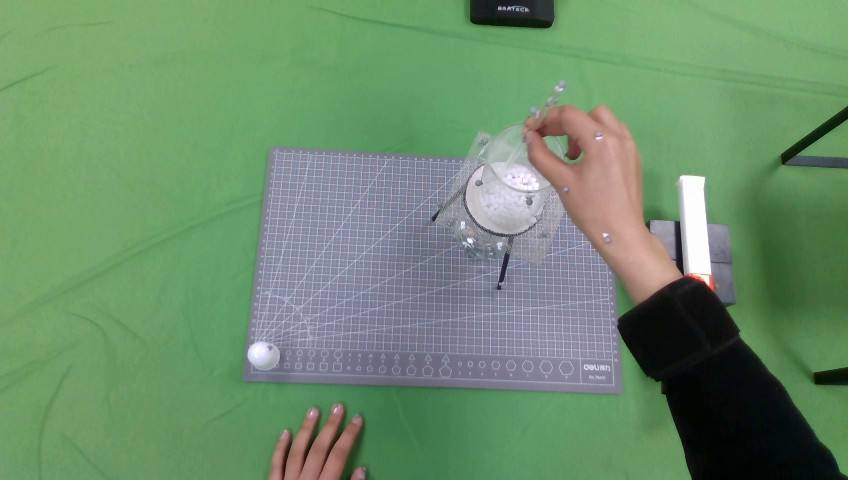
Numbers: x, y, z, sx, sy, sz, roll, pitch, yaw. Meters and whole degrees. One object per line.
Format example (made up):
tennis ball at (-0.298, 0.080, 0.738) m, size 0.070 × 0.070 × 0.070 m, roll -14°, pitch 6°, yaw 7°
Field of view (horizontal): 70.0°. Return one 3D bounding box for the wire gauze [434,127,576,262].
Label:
wire gauze at (0.090, -0.050, 0.649) m, size 0.121 × 0.011 × 0.124 m, roll 25°, pitch 69°, yaw 1°

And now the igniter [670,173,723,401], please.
igniter at (0.319, 0.050, 0.716) m, size 0.057 × 0.025 × 0.275 m, roll 5°, pitch 72°, yaw 0°

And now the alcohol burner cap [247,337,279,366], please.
alcohol burner cap at (-0.186, 0.125, 0.692) m, size 0.034 × 0.048 × 0.033 m, roll 2°, pitch 73°, yaw -5°

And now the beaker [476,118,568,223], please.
beaker at (0.089, -0.064, 0.603) m, size 0.084 × 0.101 × 0.073 m, roll 3°, pitch 71°, yaw -2°

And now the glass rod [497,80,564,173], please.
glass rod at (0.091, -0.095, 0.547) m, size 0.008 × 0.200 × 0.008 m, roll 1°, pitch 77°, yaw -6°

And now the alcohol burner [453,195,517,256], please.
alcohol burner at (0.074, -0.022, 0.719) m, size 0.078 × 0.119 × 0.077 m, roll 1°, pitch 75°, yaw -3°

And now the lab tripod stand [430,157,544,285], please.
lab tripod stand at (0.083, -0.033, 0.712) m, size 0.148 × 0.132 × 0.147 m, roll 1°, pitch 71°, yaw -4°
